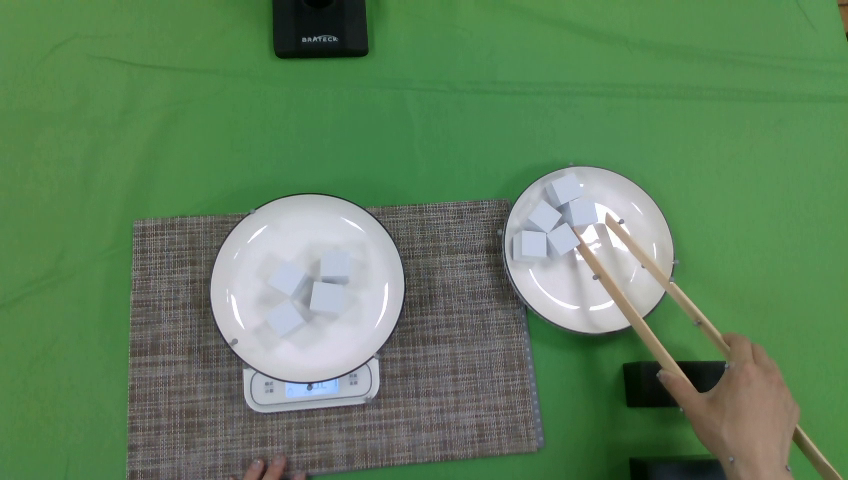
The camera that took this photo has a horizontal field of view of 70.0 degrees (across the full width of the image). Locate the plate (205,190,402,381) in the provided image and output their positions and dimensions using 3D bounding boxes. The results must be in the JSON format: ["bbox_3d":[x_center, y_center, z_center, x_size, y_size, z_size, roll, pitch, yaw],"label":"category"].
[{"bbox_3d":[-0.129,0.048,0.664,0.209,0.038,0.208,1,76,-5],"label":"plate"}]

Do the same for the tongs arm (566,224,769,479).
[{"bbox_3d":[0.259,0.123,0.631,0.028,0.028,0.383,-22,55,-14],"label":"tongs arm"}]

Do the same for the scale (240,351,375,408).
[{"bbox_3d":[-0.134,0.084,0.689,0.149,0.031,0.200,-3,77,-6],"label":"scale"}]

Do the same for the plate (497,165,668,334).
[{"bbox_3d":[0.188,0.012,0.735,0.208,0.039,0.206,1,76,-5],"label":"plate"}]

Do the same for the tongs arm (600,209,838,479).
[{"bbox_3d":[0.287,0.111,0.636,0.051,0.027,0.380,-25,56,-13],"label":"tongs arm"}]
